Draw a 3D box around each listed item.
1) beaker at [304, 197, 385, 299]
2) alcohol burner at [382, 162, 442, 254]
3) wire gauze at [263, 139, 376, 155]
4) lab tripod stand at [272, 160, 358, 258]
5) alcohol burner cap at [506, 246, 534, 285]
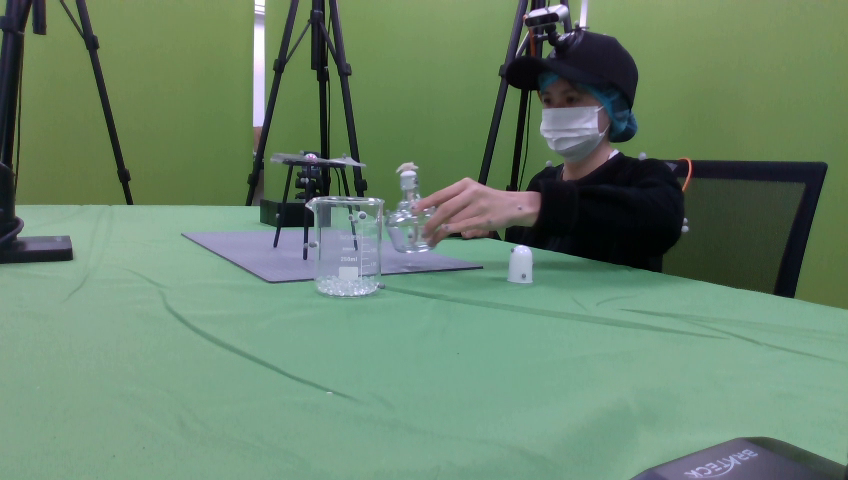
[{"bbox_3d":[-0.083,0.007,0.628,0.084,0.100,0.073,-1,7,-21],"label":"beaker"},{"bbox_3d":[-0.018,-0.042,0.782,0.078,0.119,0.078,-7,9,1],"label":"alcohol burner"},{"bbox_3d":[-0.151,-0.130,0.869,0.122,0.011,0.124,-8,5,-35],"label":"wire gauze"},{"bbox_3d":[-0.159,-0.048,0.876,0.148,0.131,0.148,3,5,0],"label":"lab tripod stand"},{"bbox_3d":[0.119,0.031,0.740,0.034,0.048,0.034,2,7,0],"label":"alcohol burner cap"}]
